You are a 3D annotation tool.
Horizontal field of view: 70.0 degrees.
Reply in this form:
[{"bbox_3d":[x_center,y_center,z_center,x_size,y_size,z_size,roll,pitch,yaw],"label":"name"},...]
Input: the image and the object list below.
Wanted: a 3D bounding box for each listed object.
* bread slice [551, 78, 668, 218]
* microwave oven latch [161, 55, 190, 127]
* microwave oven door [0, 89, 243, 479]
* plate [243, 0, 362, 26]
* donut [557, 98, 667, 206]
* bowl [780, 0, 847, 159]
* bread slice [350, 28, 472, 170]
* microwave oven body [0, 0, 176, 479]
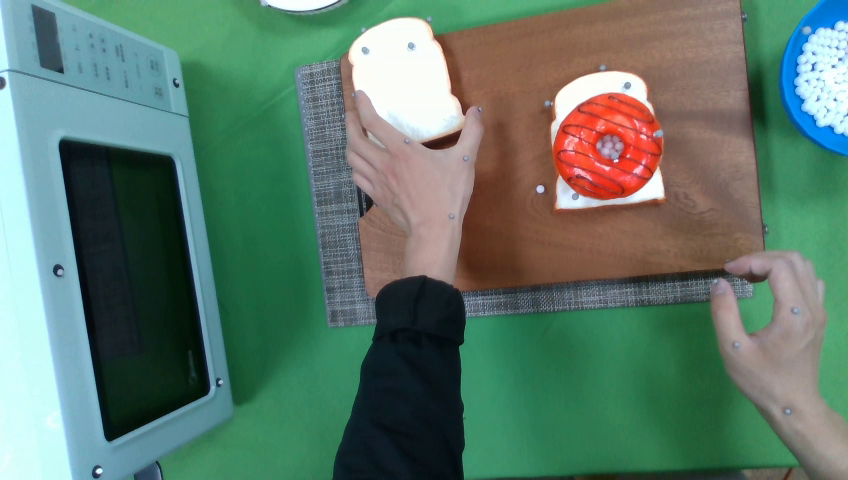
[{"bbox_3d":[0.175,-0.090,0.590,0.105,0.019,0.131,-7,92,12],"label":"bread slice"},{"bbox_3d":[-0.294,-0.169,0.698,0.030,0.029,0.079,-9,91,13],"label":"microwave oven latch"},{"bbox_3d":[-0.285,0.050,0.601,0.039,0.244,0.355,-10,90,14],"label":"microwave oven door"},{"bbox_3d":[-0.127,-0.340,0.670,0.207,0.039,0.207,0,93,13],"label":"plate"},{"bbox_3d":[0.172,-0.081,0.560,0.099,0.048,0.099,1,94,13],"label":"donut"},{"bbox_3d":[0.388,-0.140,0.535,0.151,0.077,0.151,1,93,14],"label":"bowl"},{"bbox_3d":[-0.022,-0.150,0.632,0.107,0.018,0.134,-21,86,13],"label":"bread slice"},{"bbox_3d":[-0.431,0.032,0.640,0.325,0.260,0.441,-9,91,13],"label":"microwave oven body"}]
